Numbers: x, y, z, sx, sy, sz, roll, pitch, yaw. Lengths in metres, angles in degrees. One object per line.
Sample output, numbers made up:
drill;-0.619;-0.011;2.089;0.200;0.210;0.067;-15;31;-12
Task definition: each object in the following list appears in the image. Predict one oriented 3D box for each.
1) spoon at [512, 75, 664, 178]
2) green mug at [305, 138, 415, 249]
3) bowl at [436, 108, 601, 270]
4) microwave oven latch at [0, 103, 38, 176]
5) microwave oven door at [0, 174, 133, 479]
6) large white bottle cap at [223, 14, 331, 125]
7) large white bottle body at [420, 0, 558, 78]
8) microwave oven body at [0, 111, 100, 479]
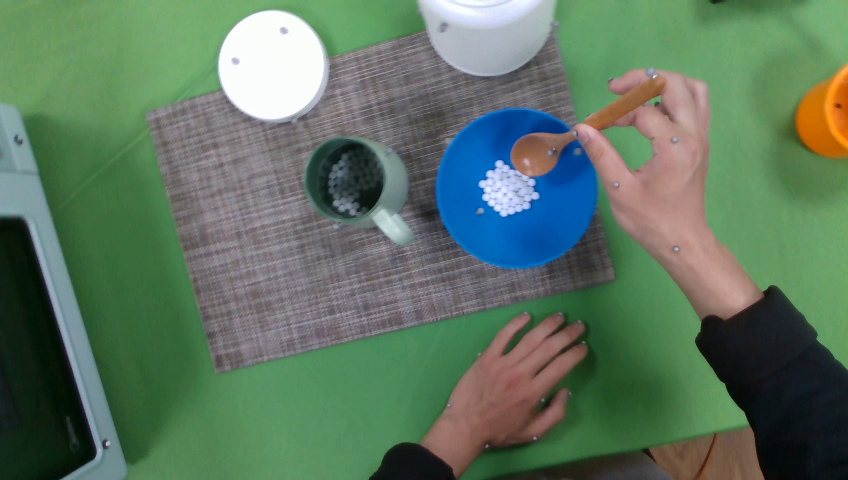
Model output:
spoon;0.125;-0.086;0.490;0.021;0.193;0.042;-41;96;-19
green mug;-0.053;-0.042;0.599;0.092;0.105;0.125;-41;88;6
bowl;0.091;-0.048;0.597;0.151;0.077;0.151;0;93;7
microwave oven latch;-0.449;-0.106;0.656;0.030;0.029;0.079;-15;92;6
microwave oven door;-0.402;0.109;0.561;0.039;0.244;0.355;-16;91;7
large white bottle cap;-0.157;-0.181;0.645;0.115;0.018;0.115;0;92;6
large white bottle body;0.057;-0.232;0.536;0.130;0.185;0.130;0;89;7
microwave oven body;-0.553;0.108;0.582;0.326;0.260;0.441;-16;92;6
